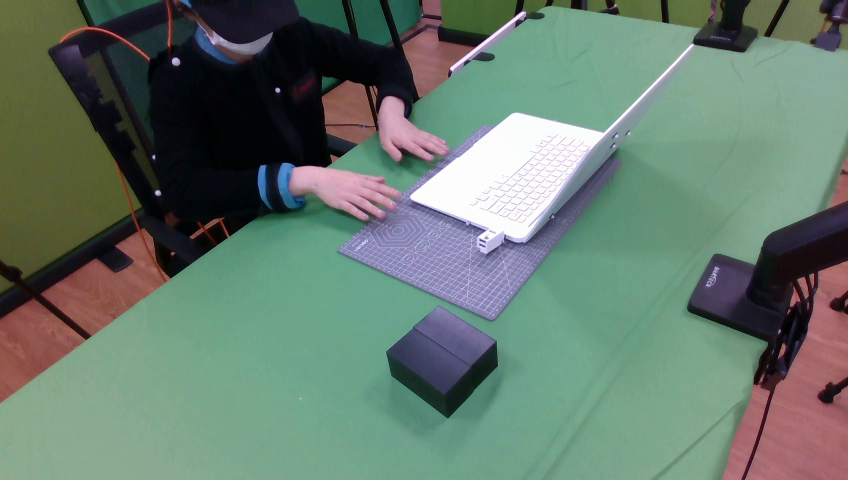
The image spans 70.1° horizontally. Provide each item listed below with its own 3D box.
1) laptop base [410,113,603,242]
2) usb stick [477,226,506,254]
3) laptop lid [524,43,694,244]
[{"bbox_3d":[0.171,-0.127,1.096,0.233,0.023,0.355,21,47,34],"label":"laptop base"},{"bbox_3d":[0.108,-0.004,0.933,0.021,0.027,0.059,25,37,35],"label":"usb stick"},{"bbox_3d":[0.290,-0.151,0.941,0.013,0.241,0.358,40,54,12],"label":"laptop lid"}]
